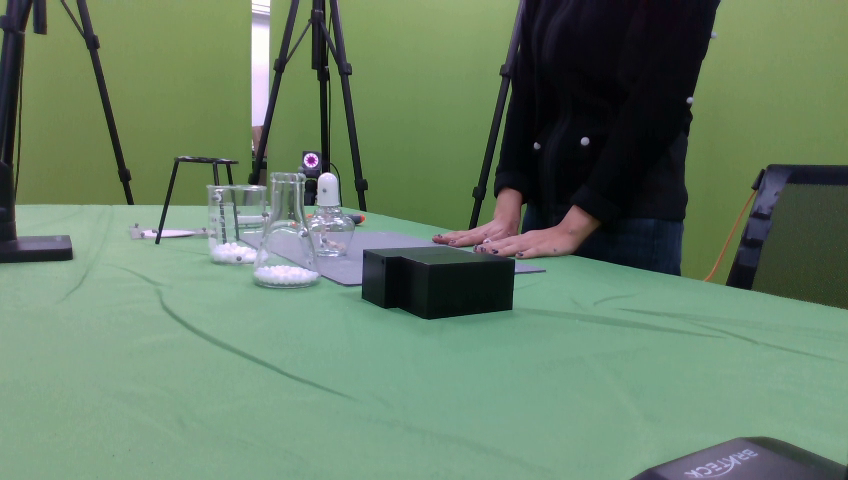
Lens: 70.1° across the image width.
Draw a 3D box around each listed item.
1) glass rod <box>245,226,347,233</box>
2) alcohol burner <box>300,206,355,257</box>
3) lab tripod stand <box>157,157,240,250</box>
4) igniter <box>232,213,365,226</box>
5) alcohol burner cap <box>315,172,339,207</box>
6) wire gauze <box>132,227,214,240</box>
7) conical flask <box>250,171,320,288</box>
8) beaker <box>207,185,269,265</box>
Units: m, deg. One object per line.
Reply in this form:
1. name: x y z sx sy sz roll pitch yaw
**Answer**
1. glass rod: -0.237 -0.021 1.141 0.201 0.008 0.008 -3 8 -32
2. alcohol burner: -0.137 -0.037 0.858 0.078 0.119 0.078 0 7 0
3. lab tripod stand: -0.322 -0.057 0.905 0.148 0.131 0.148 4 7 0
4. igniter: -0.246 -0.042 1.223 0.278 0.025 0.057 -3 -1 -36
5. alcohol burner cap: -0.137 -0.072 0.852 0.034 0.048 0.034 1 14 0
6. wire gauze: -0.425 -0.013 1.018 0.122 0.011 0.124 -1 6 -28
7. conical flask: -0.150 -0.013 0.658 0.075 0.122 0.075 2 7 0
8. beaker: -0.244 -0.021 0.784 0.083 0.100 0.074 6 8 31
